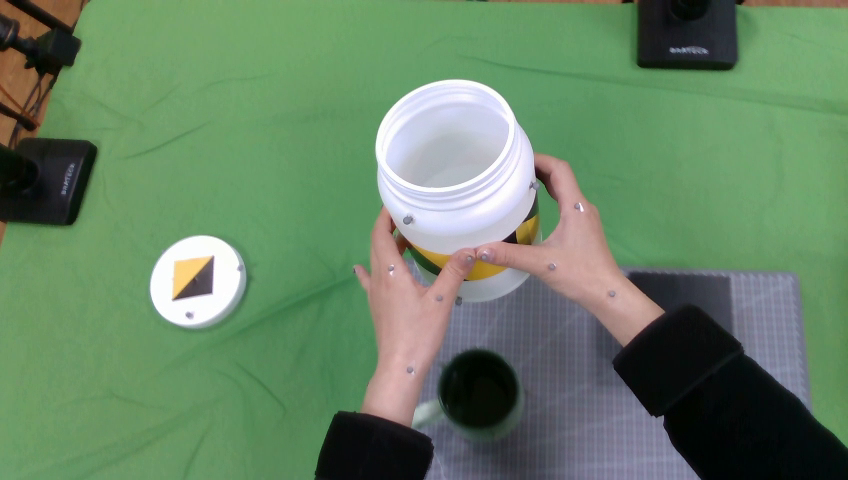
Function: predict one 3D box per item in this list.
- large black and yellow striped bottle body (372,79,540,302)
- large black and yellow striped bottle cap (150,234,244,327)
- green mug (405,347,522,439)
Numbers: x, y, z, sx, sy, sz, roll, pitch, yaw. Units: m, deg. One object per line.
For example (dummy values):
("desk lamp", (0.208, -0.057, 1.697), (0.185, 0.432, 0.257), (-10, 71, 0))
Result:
("large black and yellow striped bottle body", (0.032, -0.038, 0.533), (0.130, 0.186, 0.129), (-6, 60, 11))
("large black and yellow striped bottle cap", (-0.280, 0.049, 0.744), (0.115, 0.019, 0.114), (-2, 71, 6))
("green mug", (0.040, 0.163, 0.620), (0.125, 0.105, 0.092), (-23, 71, -1))
